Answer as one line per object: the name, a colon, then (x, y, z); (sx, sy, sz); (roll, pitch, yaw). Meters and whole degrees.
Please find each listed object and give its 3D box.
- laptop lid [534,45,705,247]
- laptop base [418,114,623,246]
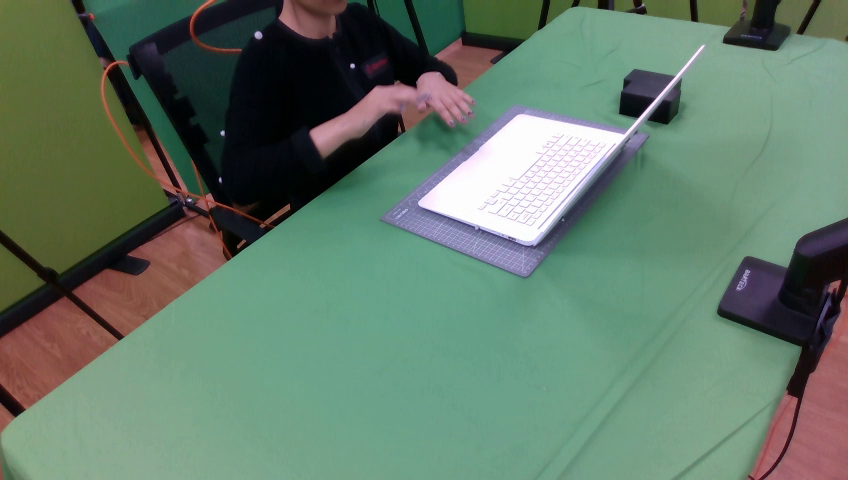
laptop lid: (0.305, -0.146, 0.938); (0.013, 0.241, 0.357); (40, 54, 9)
laptop base: (0.183, -0.122, 1.094); (0.233, 0.023, 0.355); (19, 47, 34)
